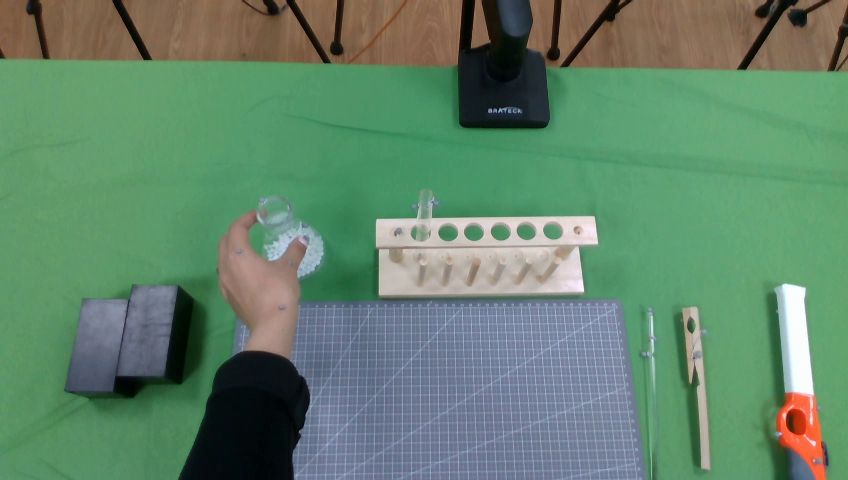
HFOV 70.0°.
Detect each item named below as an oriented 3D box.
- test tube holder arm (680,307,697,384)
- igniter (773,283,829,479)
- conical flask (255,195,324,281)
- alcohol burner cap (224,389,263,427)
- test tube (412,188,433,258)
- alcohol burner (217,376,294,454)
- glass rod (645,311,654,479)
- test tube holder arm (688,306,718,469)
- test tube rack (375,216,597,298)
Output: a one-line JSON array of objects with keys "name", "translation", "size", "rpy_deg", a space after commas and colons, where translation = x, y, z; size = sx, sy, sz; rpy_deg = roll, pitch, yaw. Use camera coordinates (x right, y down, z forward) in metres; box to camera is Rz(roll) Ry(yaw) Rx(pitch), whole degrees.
[{"name": "test tube holder arm", "translation": [0.306, 0.121, 0.698], "size": [0.010, 0.015, 0.087], "rpy_deg": [-13, 64, 34]}, {"name": "igniter", "translation": [0.415, 0.181, 0.671], "size": [0.057, 0.025, 0.274], "rpy_deg": [11, 68, -8]}, {"name": "conical flask", "translation": [-0.156, -0.007, 0.677], "size": [0.075, 0.122, 0.075], "rpy_deg": [1, 68, -1]}, {"name": "alcohol burner cap", "translation": [-0.172, 0.157, 0.574], "size": [0.034, 0.048, 0.033], "rpy_deg": [2, 64, -5]}, {"name": "test tube", "translation": [-0.002, -0.014, 0.651], "size": [0.017, 0.151, 0.017], "rpy_deg": [1, 66, -3]}, {"name": "alcohol burner", "translation": [-0.173, 0.172, 0.607], "size": [0.078, 0.120, 0.077], "rpy_deg": [0, 67, 1]}, {"name": "glass rod", "translation": [0.253, 0.176, 0.678], "size": [0.008, 0.008, 0.198], "rpy_deg": [6, 71, 1]}, {"name": "test tube holder arm", "translation": [0.310, 0.162, 0.678], "size": [0.013, 0.015, 0.177], "rpy_deg": [-15, 63, 33]}, {"name": "test tube rack", "translation": [0.067, 0.021, 0.693], "size": [0.242, 0.086, 0.066], "rpy_deg": [-1, 68, -2]}]
